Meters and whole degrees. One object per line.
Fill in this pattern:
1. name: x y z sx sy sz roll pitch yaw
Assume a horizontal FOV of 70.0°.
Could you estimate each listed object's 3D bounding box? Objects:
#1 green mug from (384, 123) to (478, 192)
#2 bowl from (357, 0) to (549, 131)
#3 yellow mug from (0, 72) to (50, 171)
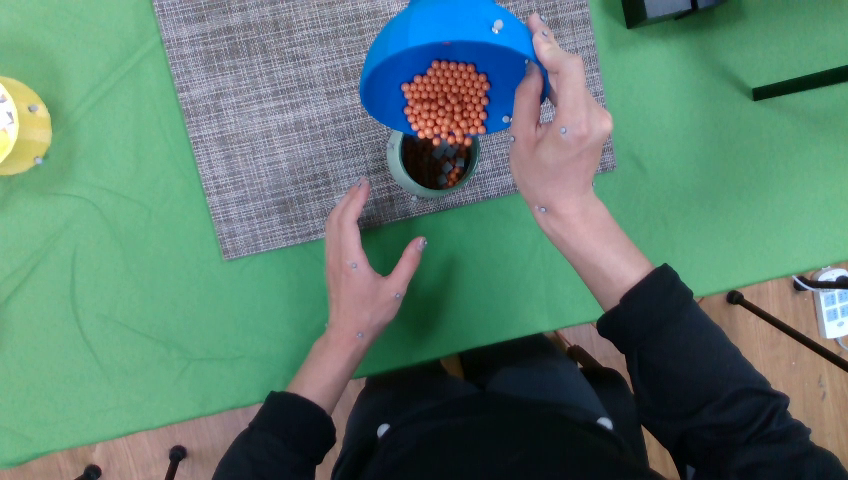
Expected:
1. green mug: 0.008 -0.111 0.615 0.093 0.104 0.125 3 96 -6
2. bowl: 0.022 -0.155 0.487 0.151 0.152 0.076 0 75 -6
3. yellow mug: -0.436 -0.102 0.586 0.100 0.064 0.131 19 95 -9
